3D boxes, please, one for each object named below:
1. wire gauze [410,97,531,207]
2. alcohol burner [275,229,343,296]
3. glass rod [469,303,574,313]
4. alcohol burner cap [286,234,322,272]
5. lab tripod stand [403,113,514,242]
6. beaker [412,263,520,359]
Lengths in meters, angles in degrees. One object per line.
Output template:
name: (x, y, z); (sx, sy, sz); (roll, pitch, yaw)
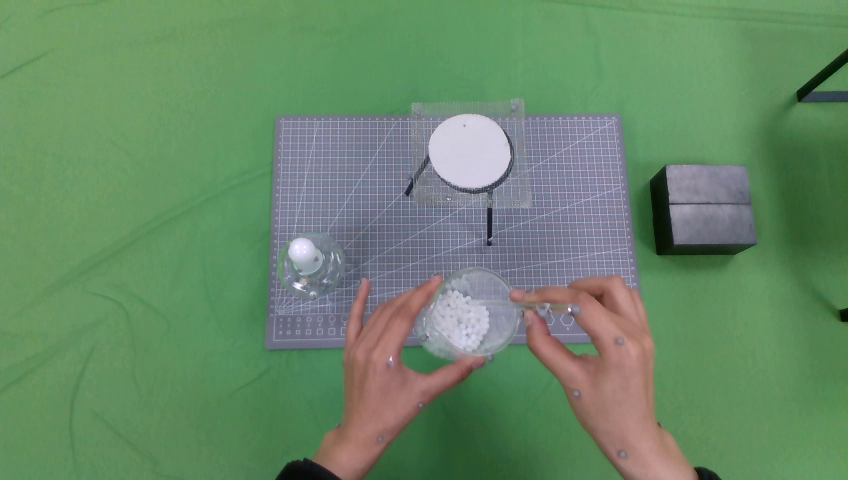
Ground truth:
wire gauze: (0.048, -0.093, 0.634); (0.125, 0.011, 0.121); (0, 76, -2)
alcohol burner: (-0.130, 0.021, 0.675); (0.078, 0.119, 0.077); (1, 77, -3)
glass rod: (0.070, 0.054, 0.484); (0.008, 0.199, 0.008); (1, 84, -15)
alcohol burner cap: (-0.129, 0.012, 0.640); (0.034, 0.048, 0.033); (-1, 70, 2)
lab tripod stand: (0.049, -0.080, 0.699); (0.148, 0.132, 0.147); (0, 73, -1)
beaker: (0.029, 0.068, 0.536); (0.084, 0.100, 0.073); (-13, 79, -15)
